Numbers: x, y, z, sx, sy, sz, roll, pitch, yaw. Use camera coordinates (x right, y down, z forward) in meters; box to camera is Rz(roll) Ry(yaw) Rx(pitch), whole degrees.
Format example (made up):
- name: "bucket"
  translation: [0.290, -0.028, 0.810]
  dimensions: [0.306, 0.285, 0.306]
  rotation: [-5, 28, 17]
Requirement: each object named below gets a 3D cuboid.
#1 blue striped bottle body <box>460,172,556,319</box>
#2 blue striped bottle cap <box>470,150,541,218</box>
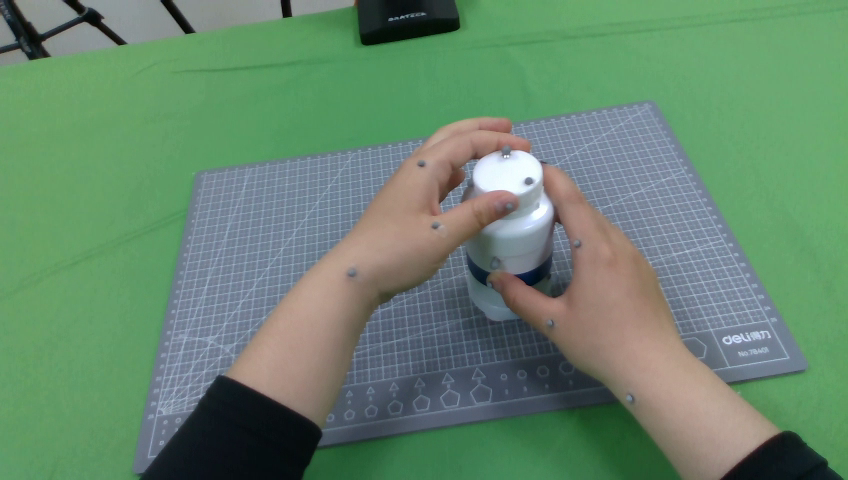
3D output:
- name: "blue striped bottle body"
  translation: [0.058, -0.003, 0.418]
  dimensions: [0.063, 0.122, 0.062]
  rotation: [-4, 50, 5]
- name: "blue striped bottle cap"
  translation: [0.051, -0.036, 0.378]
  dimensions: [0.044, 0.021, 0.044]
  rotation: [-1, 46, 2]
